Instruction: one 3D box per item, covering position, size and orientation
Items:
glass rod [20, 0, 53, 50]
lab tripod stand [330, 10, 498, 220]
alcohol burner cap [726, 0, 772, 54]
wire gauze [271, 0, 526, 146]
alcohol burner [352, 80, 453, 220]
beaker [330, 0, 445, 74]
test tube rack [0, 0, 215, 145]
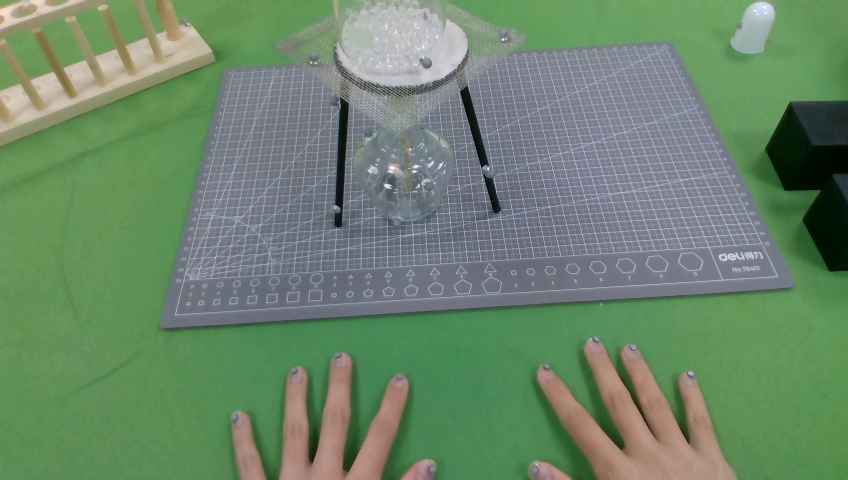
[{"bbox_3d":[-0.345,-0.215,0.512,0.008,0.201,0.008,2,52,-2],"label":"glass rod"},{"bbox_3d":[-0.010,-0.087,0.449,0.148,0.132,0.147,0,51,0],"label":"lab tripod stand"},{"bbox_3d":[0.321,-0.212,0.594,0.034,0.048,0.033,-1,51,1],"label":"alcohol burner cap"},{"bbox_3d":[-0.017,-0.126,0.396,0.124,0.011,0.121,39,64,25],"label":"wire gauze"},{"bbox_3d":[-0.017,-0.070,0.448,0.078,0.120,0.077,0,53,1],"label":"alcohol burner"},{"bbox_3d":[-0.025,-0.158,0.359,0.084,0.101,0.073,12,53,10],"label":"beaker"},{"bbox_3d":[-0.333,-0.174,0.564,0.242,0.086,0.066,-29,56,-19],"label":"test tube rack"}]
